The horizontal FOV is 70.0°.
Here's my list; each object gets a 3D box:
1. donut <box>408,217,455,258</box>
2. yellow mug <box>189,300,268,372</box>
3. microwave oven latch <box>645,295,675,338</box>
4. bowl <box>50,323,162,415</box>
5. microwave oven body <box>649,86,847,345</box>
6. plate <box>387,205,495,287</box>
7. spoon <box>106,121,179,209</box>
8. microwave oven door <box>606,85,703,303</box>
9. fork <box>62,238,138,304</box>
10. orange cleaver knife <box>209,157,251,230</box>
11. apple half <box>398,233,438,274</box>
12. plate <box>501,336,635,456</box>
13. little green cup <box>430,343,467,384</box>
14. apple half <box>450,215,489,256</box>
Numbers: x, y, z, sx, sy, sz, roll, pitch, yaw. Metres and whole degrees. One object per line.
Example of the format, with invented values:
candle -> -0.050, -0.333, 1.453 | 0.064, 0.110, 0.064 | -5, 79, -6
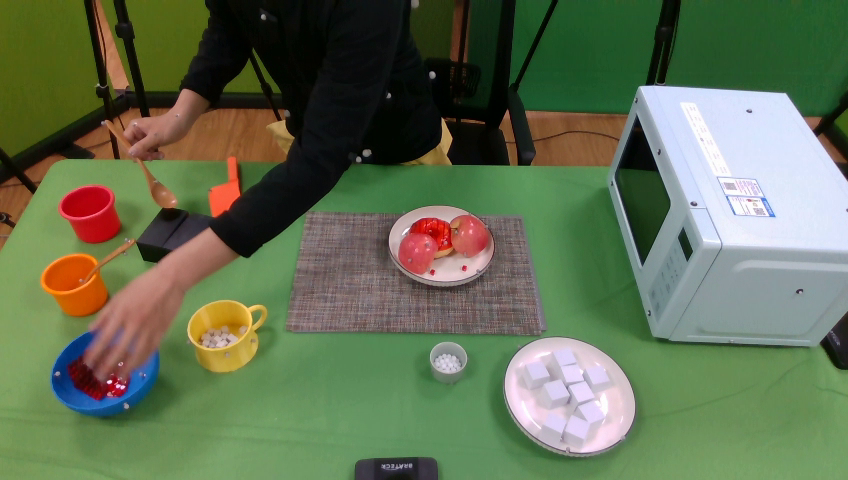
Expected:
donut -> 0.018, -0.006, 1.174 | 0.099, 0.048, 0.098 | 4, 42, -3
yellow mug -> -0.316, 0.149, 1.002 | 0.131, 0.064, 0.099 | -33, 55, -31
microwave oven latch -> 0.412, 0.134, 1.061 | 0.030, 0.029, 0.078 | 3, 45, 0
bowl -> -0.472, 0.210, 0.924 | 0.151, 0.077, 0.150 | 3, 44, -2
microwave oven body -> 0.568, -0.053, 1.118 | 0.326, 0.261, 0.439 | 2, 45, -1
plate -> 0.033, 0.014, 1.171 | 0.209, 0.038, 0.208 | 2, 46, -2
spoon -> -0.523, -0.140, 1.128 | 0.021, 0.194, 0.041 | -17, 20, 39
microwave oven door -> 0.423, -0.094, 1.140 | 0.039, 0.245, 0.353 | 2, 46, -1
fork -> -0.547, 0.053, 1.018 | 0.207, 0.019, 0.028 | -36, 41, 23
orange cleaver knife -> -0.409, -0.099, 1.265 | 0.077, 0.012, 0.210 | -13, 50, -10
apple half -> -0.016, 0.022, 1.123 | 0.081, 0.033, 0.081 | -2, 83, 14
plate -> 0.225, 0.249, 0.964 | 0.208, 0.039, 0.206 | 2, 46, -2
little green cup -> 0.039, 0.203, 0.994 | 0.061, 0.039, 0.061 | 2, 46, -2
apple half -> 0.092, -0.013, 1.158 | 0.075, 0.053, 0.080 | 34, 39, -28
